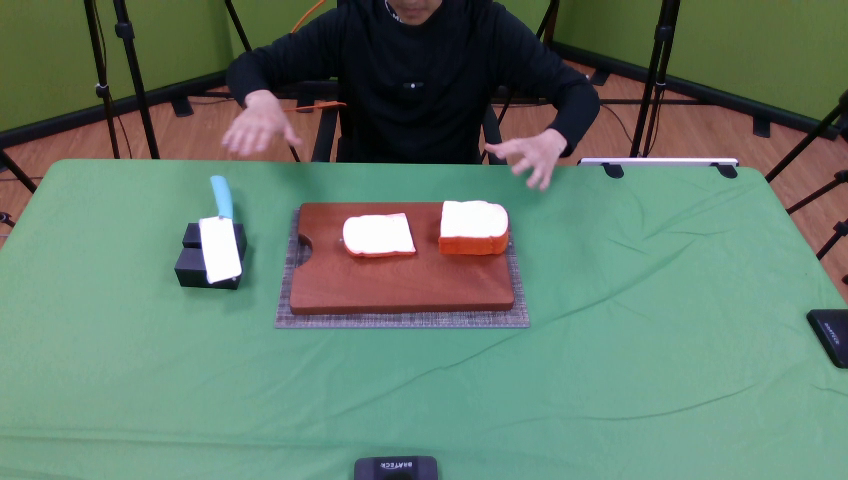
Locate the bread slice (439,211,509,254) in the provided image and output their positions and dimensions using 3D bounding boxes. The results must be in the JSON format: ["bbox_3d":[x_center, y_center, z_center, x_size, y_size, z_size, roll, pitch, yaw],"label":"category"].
[{"bbox_3d":[0.097,-0.013,1.173,0.134,0.018,0.106,5,48,6],"label":"bread slice"}]

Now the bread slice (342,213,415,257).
[{"bbox_3d":[-0.091,-0.008,1.154,0.132,0.019,0.104,-3,48,-14],"label":"bread slice"}]

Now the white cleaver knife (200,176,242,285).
[{"bbox_3d":[-0.386,-0.028,1.136,0.066,0.021,0.284,-11,46,-13],"label":"white cleaver knife"}]
